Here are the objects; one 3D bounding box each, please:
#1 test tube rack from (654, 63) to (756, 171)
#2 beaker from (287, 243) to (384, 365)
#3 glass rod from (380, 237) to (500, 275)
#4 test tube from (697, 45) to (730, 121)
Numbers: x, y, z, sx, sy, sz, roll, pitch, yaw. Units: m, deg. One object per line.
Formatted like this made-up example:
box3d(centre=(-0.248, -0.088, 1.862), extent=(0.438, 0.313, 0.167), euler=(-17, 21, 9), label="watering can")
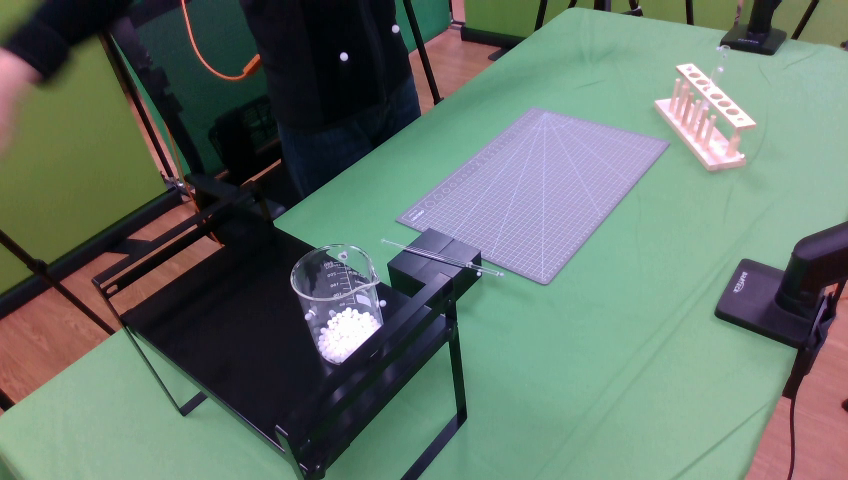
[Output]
box3d(centre=(0.510, -0.233, 1.120), extent=(0.067, 0.085, 0.241), euler=(-8, 41, -1), label="test tube rack")
box3d(centre=(-0.076, 0.064, 0.575), extent=(0.083, 0.101, 0.074), euler=(6, 43, 15), label="beaker")
box3d(centre=(0.019, 0.023, 0.881), extent=(0.198, 0.008, 0.008), euler=(16, 46, 25), label="glass rod")
box3d(centre=(0.523, -0.280, 1.096), extent=(0.017, 0.151, 0.017), euler=(0, 44, 1), label="test tube")
